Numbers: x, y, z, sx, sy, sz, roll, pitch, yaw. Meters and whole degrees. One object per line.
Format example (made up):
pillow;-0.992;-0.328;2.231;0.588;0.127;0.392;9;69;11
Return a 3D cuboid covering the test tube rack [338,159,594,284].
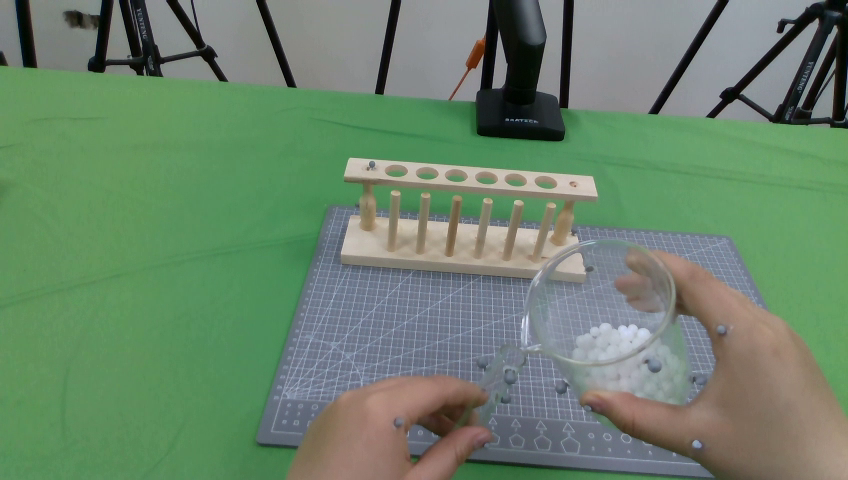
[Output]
test tube rack;0.039;-0.018;0.600;0.242;0.086;0.066;5;40;0

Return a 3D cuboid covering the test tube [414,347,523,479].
test tube;0.022;0.115;0.364;0.017;0.151;0.017;15;39;-12

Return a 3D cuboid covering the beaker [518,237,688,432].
beaker;0.103;0.060;0.338;0.084;0.101;0.073;-32;45;4
